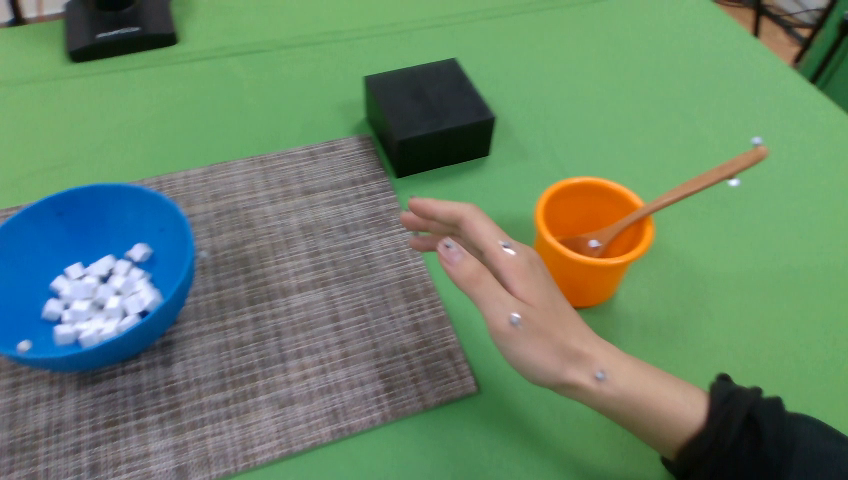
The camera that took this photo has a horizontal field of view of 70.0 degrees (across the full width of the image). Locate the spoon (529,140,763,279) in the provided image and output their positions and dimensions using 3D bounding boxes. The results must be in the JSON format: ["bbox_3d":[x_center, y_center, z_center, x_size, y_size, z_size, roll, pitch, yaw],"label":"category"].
[{"bbox_3d":[0.167,-0.022,0.473,0.022,0.194,0.041,27,41,-41],"label":"spoon"}]

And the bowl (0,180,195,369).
[{"bbox_3d":[-0.238,0.036,0.446,0.151,0.077,0.150,2,52,-2],"label":"bowl"}]
